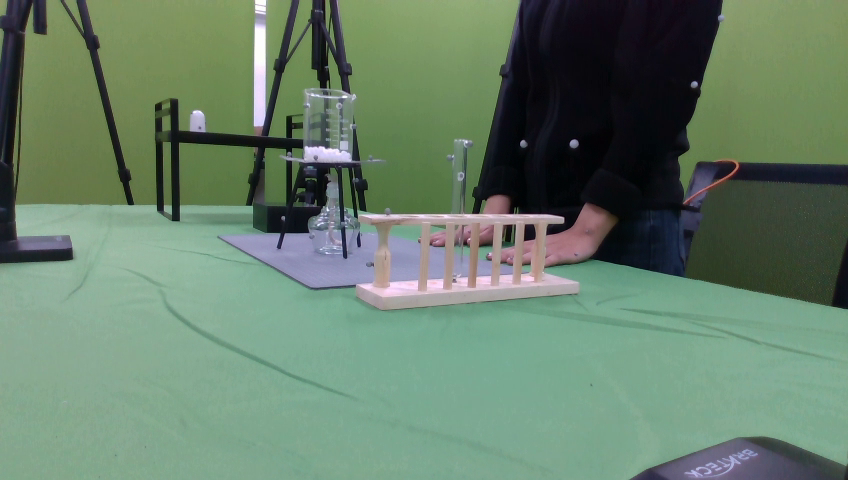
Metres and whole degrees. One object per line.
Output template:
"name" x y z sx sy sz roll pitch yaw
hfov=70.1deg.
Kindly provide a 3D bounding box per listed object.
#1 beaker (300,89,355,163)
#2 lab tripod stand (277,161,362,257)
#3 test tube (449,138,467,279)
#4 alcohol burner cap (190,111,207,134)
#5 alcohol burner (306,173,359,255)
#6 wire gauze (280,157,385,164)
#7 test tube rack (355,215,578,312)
"beaker" -0.136 -0.161 0.867 0.083 0.100 0.074 5 8 24
"lab tripod stand" -0.143 -0.049 0.884 0.148 0.131 0.148 2 9 0
"test tube" 0.035 -0.033 0.645 0.017 0.150 0.017 3 4 0
"alcohol burner cap" -0.469 -0.244 1.257 0.034 0.048 0.034 1 7 0
"alcohol burner" -0.133 -0.038 0.883 0.078 0.119 0.078 1 6 0
"wire gauze" -0.134 -0.113 0.875 0.122 0.011 0.124 -1 6 -30
"test tube rack" 0.053 0.019 0.641 0.243 0.085 0.066 -1 8 -29
